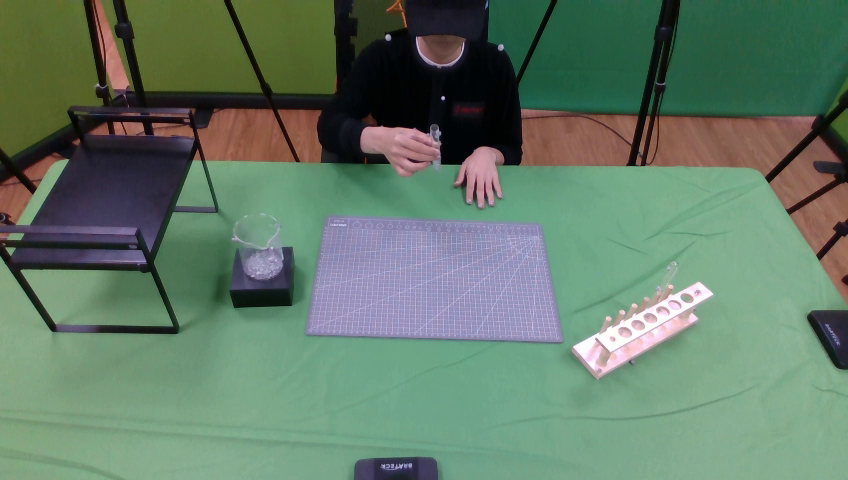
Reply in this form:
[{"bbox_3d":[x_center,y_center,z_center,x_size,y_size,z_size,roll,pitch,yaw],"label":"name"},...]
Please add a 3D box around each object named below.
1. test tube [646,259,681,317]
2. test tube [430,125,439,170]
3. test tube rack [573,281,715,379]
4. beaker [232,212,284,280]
[{"bbox_3d":[0.406,0.083,1.033,0.017,0.151,0.017,2,48,-2],"label":"test tube"},{"bbox_3d":[0.020,-0.168,1.118,0.017,0.151,0.017,0,70,1],"label":"test tube"},{"bbox_3d":[0.378,0.140,1.038,0.242,0.085,0.066,-22,51,-23],"label":"test tube rack"},{"bbox_3d":[-0.280,0.016,1.037,0.074,0.101,0.083,-18,50,-20],"label":"beaker"}]
